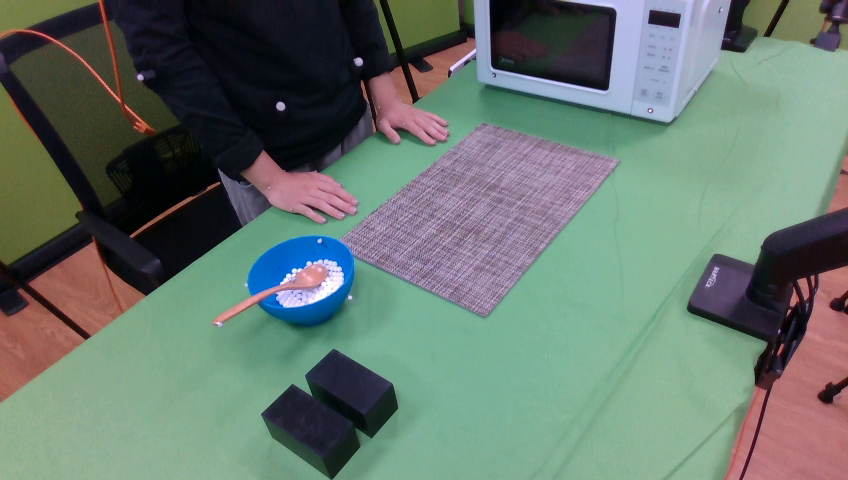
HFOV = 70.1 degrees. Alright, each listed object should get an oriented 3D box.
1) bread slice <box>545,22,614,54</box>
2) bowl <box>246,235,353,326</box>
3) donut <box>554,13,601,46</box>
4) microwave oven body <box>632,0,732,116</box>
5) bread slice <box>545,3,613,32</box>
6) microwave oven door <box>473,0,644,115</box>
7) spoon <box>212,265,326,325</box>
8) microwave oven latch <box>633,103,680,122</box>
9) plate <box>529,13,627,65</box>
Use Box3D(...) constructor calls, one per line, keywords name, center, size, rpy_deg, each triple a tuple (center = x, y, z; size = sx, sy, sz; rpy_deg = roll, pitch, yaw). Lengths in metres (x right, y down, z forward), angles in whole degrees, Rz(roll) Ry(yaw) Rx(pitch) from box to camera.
Box3D(name="bread slice", center=(0.340, -0.440, 1.310), size=(0.135, 0.018, 0.106), rpy_deg=(-11, 48, -10))
Box3D(name="bowl", center=(-0.170, 0.070, 0.868), size=(0.151, 0.077, 0.150), rpy_deg=(-4, 41, 4))
Box3D(name="donut", center=(0.328, -0.452, 1.296), size=(0.099, 0.048, 0.098), rpy_deg=(-5, 46, 6))
Box3D(name="microwave oven body", center=(0.377, -0.462, 1.267), size=(0.438, 0.261, 0.327), rpy_deg=(21, 48, 30))
Box3D(name="bread slice", center=(0.331, -0.474, 1.281), size=(0.131, 0.019, 0.104), rpy_deg=(-10, 38, 0))
Box3D(name="microwave oven door", center=(0.257, -0.396, 1.199), size=(0.353, 0.245, 0.039), rpy_deg=(21, 48, 29))
Box3D(name="spoon", center=(-0.208, 0.072, 0.822), size=(0.041, 0.021, 0.195), rpy_deg=(26, 29, 27))
Box3D(name="microwave oven latch", center=(0.444, -0.249, 1.157), size=(0.078, 0.029, 0.030), rpy_deg=(21, 48, 30))
Box3D(name="plate", center=(0.333, -0.433, 1.317), size=(0.207, 0.039, 0.206), rpy_deg=(-5, 43, 5))
